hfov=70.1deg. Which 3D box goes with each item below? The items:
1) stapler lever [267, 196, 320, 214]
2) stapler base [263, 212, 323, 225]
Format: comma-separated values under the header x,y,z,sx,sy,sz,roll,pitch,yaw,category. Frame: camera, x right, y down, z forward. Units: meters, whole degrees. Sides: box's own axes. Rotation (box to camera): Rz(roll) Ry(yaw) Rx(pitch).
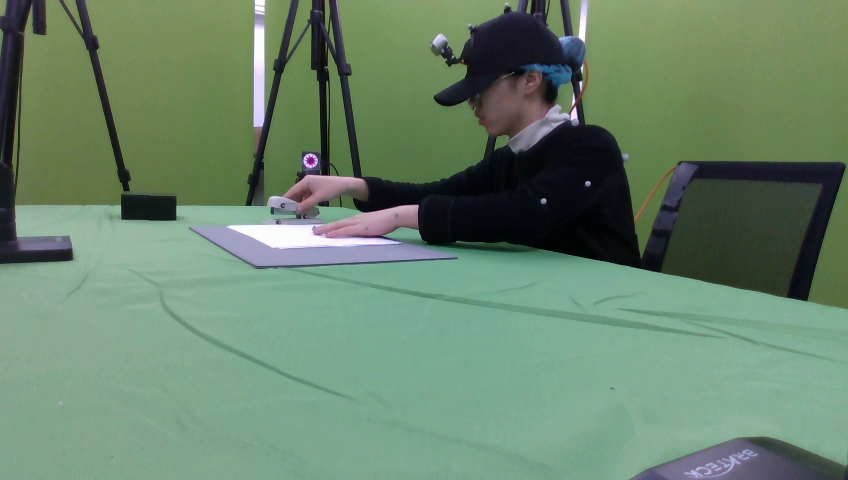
x,y,z,sx,sy,sz,roll,pitch,yaw,category
-0.275,-0.073,1.278,0.026,0.040,0.119,10,9,43,stapler lever
-0.277,-0.047,1.279,0.041,0.024,0.131,10,9,43,stapler base
